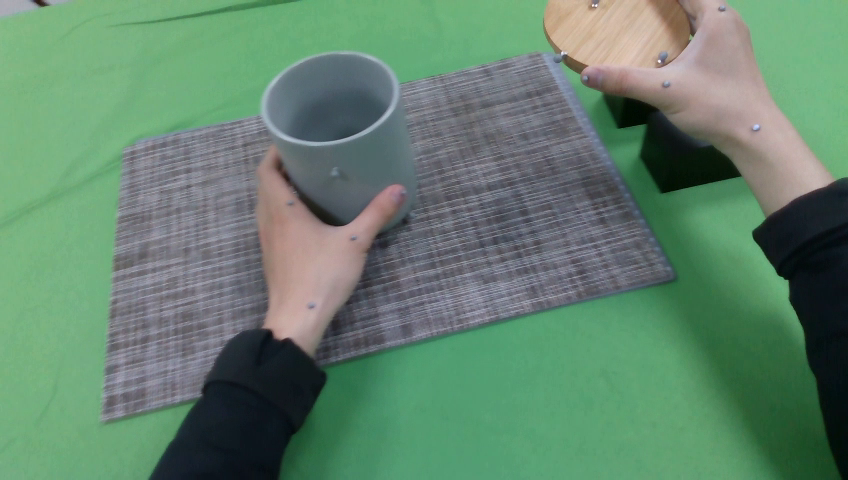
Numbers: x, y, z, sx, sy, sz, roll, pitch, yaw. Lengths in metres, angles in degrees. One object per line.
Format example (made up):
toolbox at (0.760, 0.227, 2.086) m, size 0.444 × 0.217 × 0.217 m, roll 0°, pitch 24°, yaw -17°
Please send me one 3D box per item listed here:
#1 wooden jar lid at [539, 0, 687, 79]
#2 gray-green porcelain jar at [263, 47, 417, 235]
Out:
wooden jar lid at (0.141, -0.162, 0.458) m, size 0.108 × 0.021 × 0.107 m, roll 0°, pitch 61°, yaw 1°
gray-green porcelain jar at (-0.062, -0.074, 0.501) m, size 0.106 × 0.128 × 0.105 m, roll -3°, pitch 54°, yaw 5°
